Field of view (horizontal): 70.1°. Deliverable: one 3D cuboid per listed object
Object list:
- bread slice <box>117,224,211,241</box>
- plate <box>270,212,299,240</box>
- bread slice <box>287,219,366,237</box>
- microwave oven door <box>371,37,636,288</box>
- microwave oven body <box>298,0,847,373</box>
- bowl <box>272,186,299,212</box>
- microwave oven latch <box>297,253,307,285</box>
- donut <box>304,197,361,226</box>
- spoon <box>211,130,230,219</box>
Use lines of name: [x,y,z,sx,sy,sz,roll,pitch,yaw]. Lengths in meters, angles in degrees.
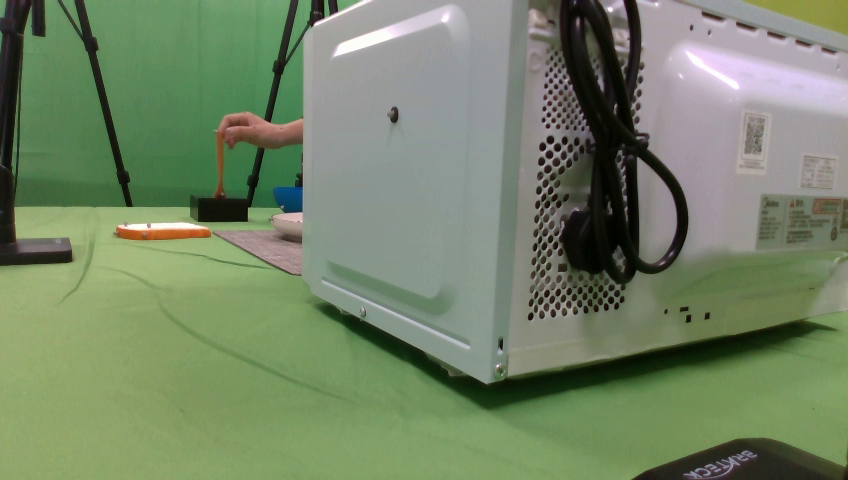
bread slice: [-0.443,-0.015,1.022,0.132,0.019,0.104,-4,8,-45]
plate: [-0.162,-0.022,1.057,0.208,0.039,0.207,2,7,0]
bread slice: [-0.170,-0.022,1.056,0.134,0.018,0.107,2,7,-6]
microwave oven door: [0.109,-0.080,0.686,0.358,0.243,0.039,-2,9,-33]
microwave oven body: [0.151,-0.055,0.542,0.444,0.260,0.324,-2,7,-33]
bowl: [-0.254,-0.075,1.318,0.151,0.077,0.151,2,7,0]
microwave oven latch: [-0.081,0.027,0.582,0.079,0.029,0.030,-1,7,-32]
donut: [-0.159,-0.050,1.055,0.099,0.048,0.099,3,8,0]
spoon: [-0.436,-0.138,1.296,0.042,0.193,0.021,-4,23,-29]
